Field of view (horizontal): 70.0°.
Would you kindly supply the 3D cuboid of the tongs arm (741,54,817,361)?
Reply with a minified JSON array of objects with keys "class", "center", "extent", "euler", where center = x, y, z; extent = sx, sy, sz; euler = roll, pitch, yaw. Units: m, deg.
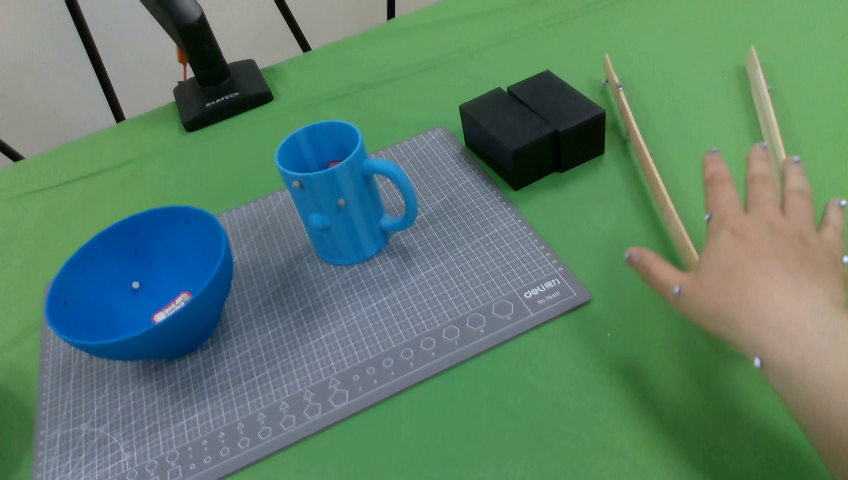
[{"class":"tongs arm","center":[0.304,-0.058,0.537],"extent":[0.028,0.028,0.384],"euler":[10,48,11]}]

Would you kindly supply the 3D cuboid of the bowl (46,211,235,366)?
[{"class":"bowl","center":[-0.224,0.054,0.518],"extent":[0.151,0.077,0.150],"euler":[-7,44,8]}]

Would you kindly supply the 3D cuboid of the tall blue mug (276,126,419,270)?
[{"class":"tall blue mug","center":[-0.063,-0.040,0.548],"extent":[0.107,0.109,0.077],"euler":[-15,43,-1]}]

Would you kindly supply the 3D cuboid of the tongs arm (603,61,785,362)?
[{"class":"tongs arm","center":[0.223,-0.058,0.549],"extent":[0.051,0.027,0.381],"euler":[-2,45,4]}]
